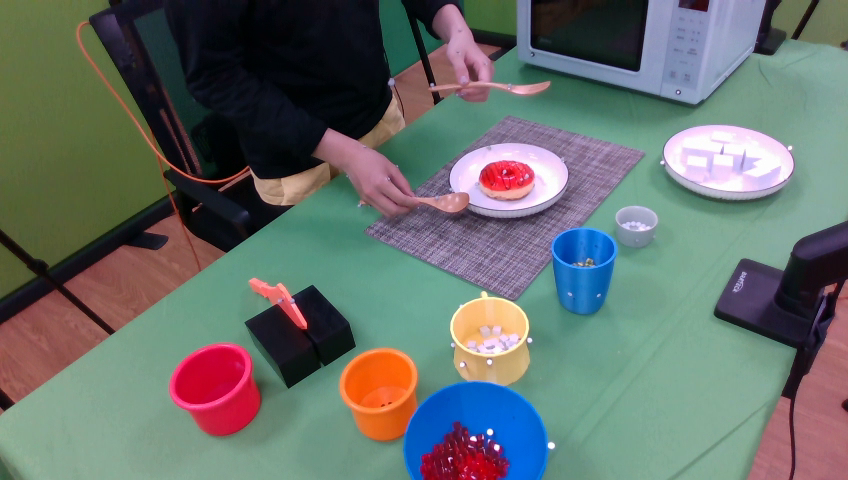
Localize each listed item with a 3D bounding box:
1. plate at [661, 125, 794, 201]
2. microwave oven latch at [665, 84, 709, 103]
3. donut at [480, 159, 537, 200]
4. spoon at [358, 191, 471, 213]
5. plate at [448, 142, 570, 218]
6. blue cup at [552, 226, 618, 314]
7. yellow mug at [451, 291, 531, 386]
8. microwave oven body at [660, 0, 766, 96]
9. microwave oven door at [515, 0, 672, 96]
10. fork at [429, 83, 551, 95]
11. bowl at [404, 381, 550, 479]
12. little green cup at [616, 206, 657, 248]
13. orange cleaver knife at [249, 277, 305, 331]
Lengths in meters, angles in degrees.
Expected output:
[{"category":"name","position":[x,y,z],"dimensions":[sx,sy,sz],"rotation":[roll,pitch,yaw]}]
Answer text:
[{"category":"plate","position":[0.513,-0.128,1.035],"dimensions":[0.207,0.039,0.206],"rotation":[-4,40,4]},{"category":"microwave oven latch","position":[0.523,-0.298,1.205],"dimensions":[0.030,0.029,0.078],"rotation":[-30,45,-23]},{"category":"donut","position":[0.145,-0.106,1.042],"dimensions":[0.099,0.048,0.098],"rotation":[-4,38,4]},{"category":"spoon","position":[-0.017,-0.065,1.000],"dimensions":[0.193,0.022,0.041],"rotation":[3,65,11]},{"category":"plate","position":[0.148,-0.101,1.053],"dimensions":[0.209,0.038,0.208],"rotation":[-4,40,4]},{"category":"blue cup","position":[0.218,0.047,0.826],"dimensions":[0.092,0.101,0.092],"rotation":[-6,40,5]},{"category":"yellow mug","position":[0.085,0.120,0.786],"dimensions":[0.100,0.064,0.130],"rotation":[-7,39,1]},{"category":"microwave oven body","position":[0.473,-0.513,1.317],"dimensions":[0.438,0.261,0.327],"rotation":[26,51,34]},{"category":"microwave oven door","position":[0.344,-0.455,1.260],"dimensions":[0.353,0.245,0.039],"rotation":[26,51,33]},{"category":"fork","position":[0.103,-0.245,0.982],"dimensions":[0.206,0.018,0.028],"rotation":[8,26,22]},{"category":"bowl","position":[0.058,0.235,0.645],"dimensions":[0.151,0.077,0.150],"rotation":[-4,39,4]},{"category":"little green cup","position":[0.327,-0.019,0.935],"dimensions":[0.061,0.039,0.061],"rotation":[-4,40,4]},{"category":"orange cleaver knife","position":[-0.210,0.088,0.856],"dimensions":[0.012,0.077,0.210],"rotation":[-28,15,-25]}]
